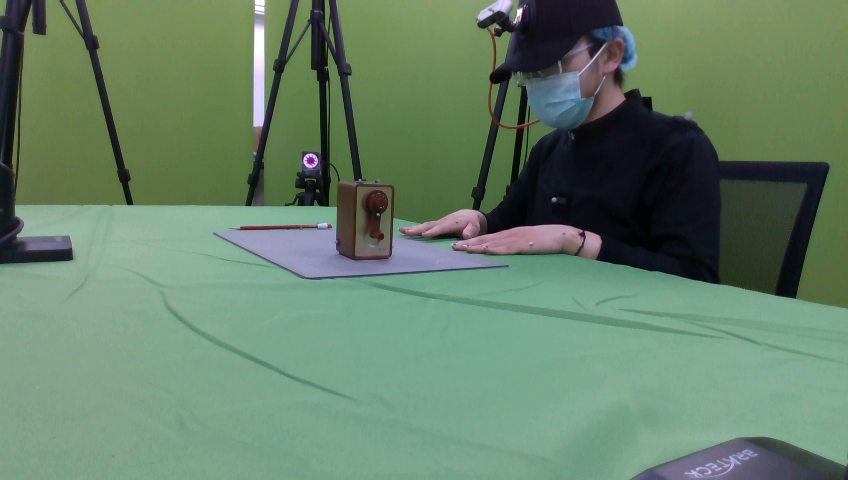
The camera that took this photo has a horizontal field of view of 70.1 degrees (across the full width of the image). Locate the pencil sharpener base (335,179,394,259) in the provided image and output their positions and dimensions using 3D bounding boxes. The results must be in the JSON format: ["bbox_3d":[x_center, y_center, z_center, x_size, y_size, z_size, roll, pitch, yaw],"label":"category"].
[{"bbox_3d":[-0.084,-0.030,0.855,0.061,0.107,0.076,-1,8,-28],"label":"pencil sharpener base"}]

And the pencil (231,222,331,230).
[{"bbox_3d":[-0.272,-0.025,1.165,0.195,0.012,0.012,-3,9,-29],"label":"pencil"}]

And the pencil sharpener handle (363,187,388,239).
[{"bbox_3d":[-0.061,-0.035,0.809,0.036,0.067,0.030,4,6,-29],"label":"pencil sharpener handle"}]
